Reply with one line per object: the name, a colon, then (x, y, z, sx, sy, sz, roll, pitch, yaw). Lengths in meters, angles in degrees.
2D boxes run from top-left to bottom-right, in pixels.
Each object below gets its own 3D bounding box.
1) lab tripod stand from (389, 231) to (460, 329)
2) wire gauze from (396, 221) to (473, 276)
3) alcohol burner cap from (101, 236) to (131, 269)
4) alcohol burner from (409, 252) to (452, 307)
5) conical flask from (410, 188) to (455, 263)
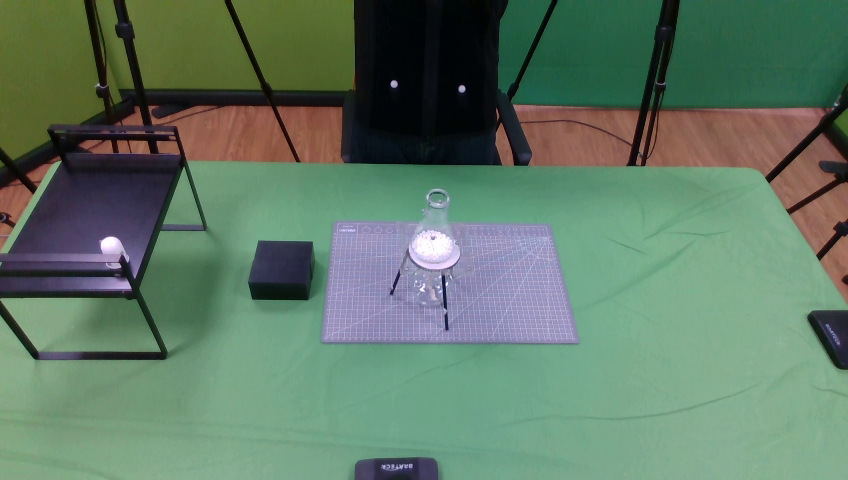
lab tripod stand: (0.015, 0.063, 1.058, 0.148, 0.132, 0.147, 4, 46, -4)
wire gauze: (0.016, 0.014, 1.014, 0.125, 0.011, 0.120, -1, 45, -3)
alcohol burner cap: (-0.452, 0.016, 0.883, 0.034, 0.048, 0.033, 2, 45, -2)
alcohol burner: (0.013, 0.063, 1.071, 0.078, 0.119, 0.077, 4, 45, -3)
conical flask: (0.017, -0.027, 0.971, 0.075, 0.122, 0.075, 2, 48, -3)
